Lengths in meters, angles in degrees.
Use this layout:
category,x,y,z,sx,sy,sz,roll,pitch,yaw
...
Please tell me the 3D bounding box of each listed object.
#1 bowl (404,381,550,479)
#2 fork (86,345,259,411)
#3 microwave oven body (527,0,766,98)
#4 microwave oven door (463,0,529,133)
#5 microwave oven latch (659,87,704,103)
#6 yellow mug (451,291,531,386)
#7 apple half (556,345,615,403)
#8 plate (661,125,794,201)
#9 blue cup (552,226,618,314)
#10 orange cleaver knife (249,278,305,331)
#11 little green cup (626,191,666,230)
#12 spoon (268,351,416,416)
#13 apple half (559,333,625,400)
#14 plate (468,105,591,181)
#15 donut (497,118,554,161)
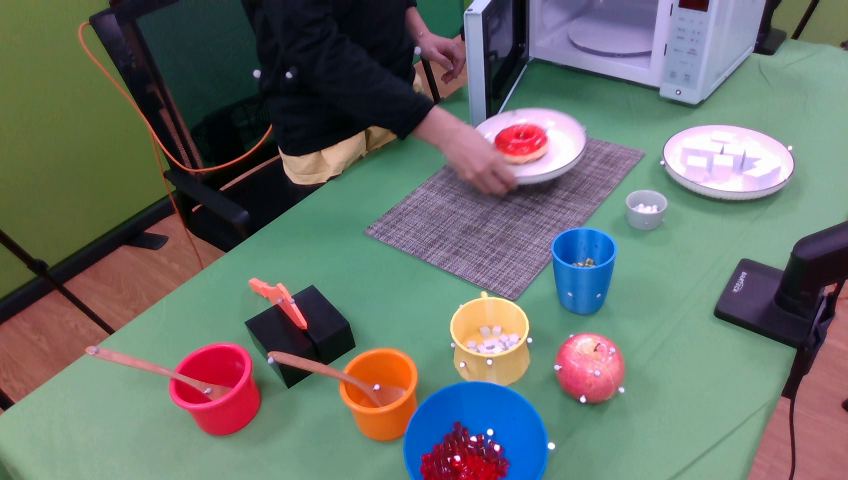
category,x,y,z,sx,sy,sz,roll,pitch,yaw
bowl,0.058,0.235,0.645,0.151,0.077,0.150,-4,39,4
fork,-0.298,0.166,0.728,0.209,0.018,0.028,28,47,-23
microwave oven body,0.472,-0.513,1.317,0.438,0.261,0.327,26,51,34
microwave oven door,0.156,-0.410,1.236,0.039,0.245,0.355,10,43,19
microwave oven latch,0.510,-0.293,1.201,0.078,0.029,0.030,14,45,25
yellow mug,0.086,0.120,0.786,0.100,0.064,0.130,-7,39,1
apple half,0.181,0.167,0.709,0.080,0.081,0.033,29,50,35
plate,0.513,-0.128,1.035,0.207,0.039,0.206,-4,40,4
blue cup,0.218,0.047,0.826,0.092,0.101,0.092,-6,40,5
orange cleaver knife,-0.210,0.088,0.855,0.012,0.077,0.210,-28,15,-25
little green cup,0.352,-0.046,0.963,0.061,0.039,0.061,-4,40,4
spoon,-0.090,0.162,0.699,0.021,0.195,0.041,-44,31,27
apple half,0.209,0.147,0.730,0.080,0.075,0.053,26,48,38
plate,0.182,-0.165,1.054,0.209,0.038,0.208,-6,43,6
donut,0.175,-0.176,1.051,0.099,0.048,0.098,-6,41,6
